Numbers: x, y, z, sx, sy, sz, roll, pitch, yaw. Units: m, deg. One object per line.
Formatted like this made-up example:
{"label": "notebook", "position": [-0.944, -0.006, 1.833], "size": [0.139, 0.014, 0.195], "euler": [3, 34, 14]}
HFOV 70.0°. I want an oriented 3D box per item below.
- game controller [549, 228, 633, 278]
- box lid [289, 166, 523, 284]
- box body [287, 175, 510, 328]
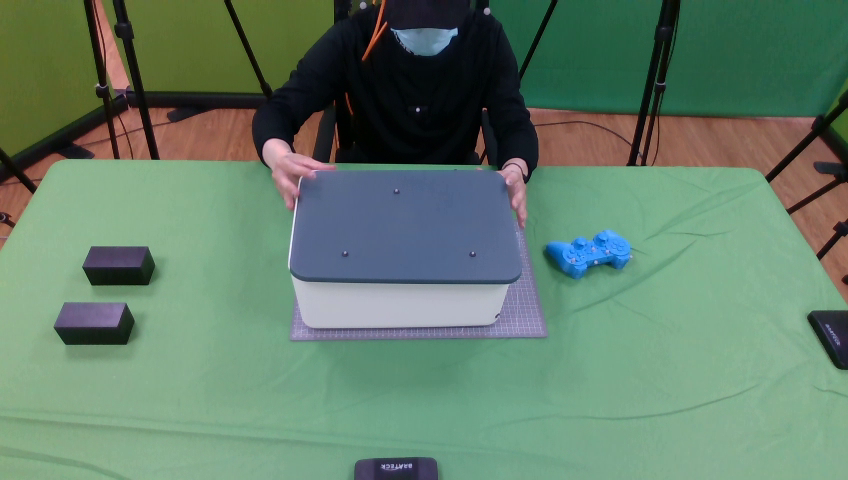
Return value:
{"label": "game controller", "position": [0.332, 0.016, 1.181], "size": [0.155, 0.052, 0.096], "euler": [-12, 52, -13]}
{"label": "box lid", "position": [-0.027, -0.031, 1.013], "size": [0.372, 0.015, 0.261], "euler": [0, 48, -4]}
{"label": "box body", "position": [-0.040, 0.015, 1.075], "size": [0.364, 0.161, 0.252], "euler": [-1, 47, -4]}
